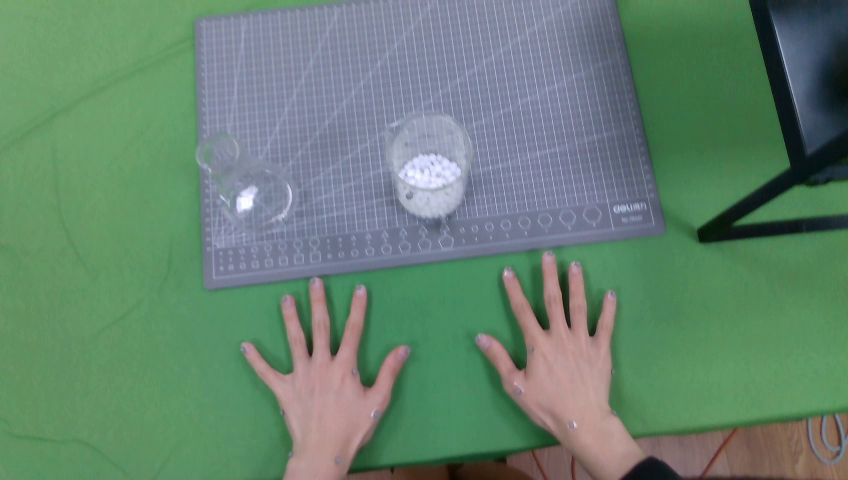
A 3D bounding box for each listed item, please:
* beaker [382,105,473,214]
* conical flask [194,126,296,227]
[{"bbox_3d":[0.001,-0.070,0.556,0.084,0.101,0.074,30,78,8],"label":"beaker"},{"bbox_3d":[-0.165,-0.061,0.544,0.075,0.122,0.075,0,76,1],"label":"conical flask"}]
